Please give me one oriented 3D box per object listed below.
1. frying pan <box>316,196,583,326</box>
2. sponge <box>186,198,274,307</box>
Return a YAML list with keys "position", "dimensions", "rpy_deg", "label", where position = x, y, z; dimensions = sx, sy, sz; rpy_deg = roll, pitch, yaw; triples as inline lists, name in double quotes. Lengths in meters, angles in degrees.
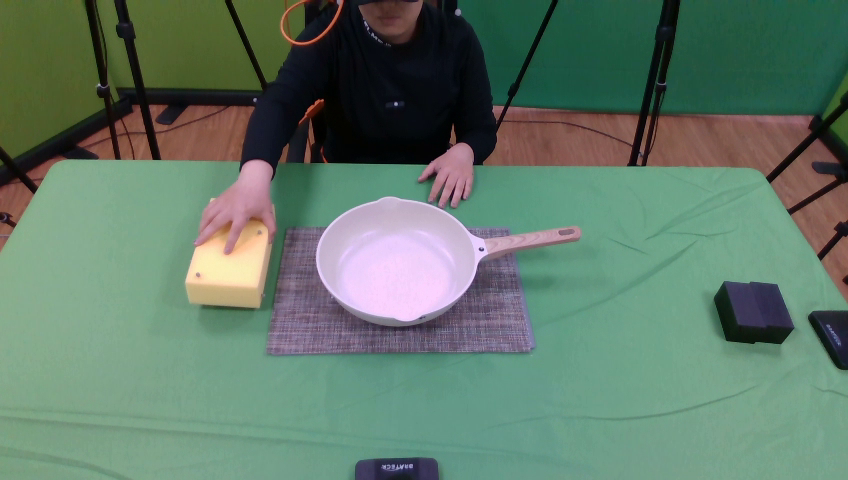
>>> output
- position: [0.054, 0.027, 1.114]
  dimensions: [0.488, 0.103, 0.304]
  rpy_deg: [-9, 48, -1]
  label: "frying pan"
- position: [-0.345, 0.020, 1.098]
  dimensions: [0.118, 0.061, 0.205]
  rpy_deg: [4, 47, -8]
  label: "sponge"
